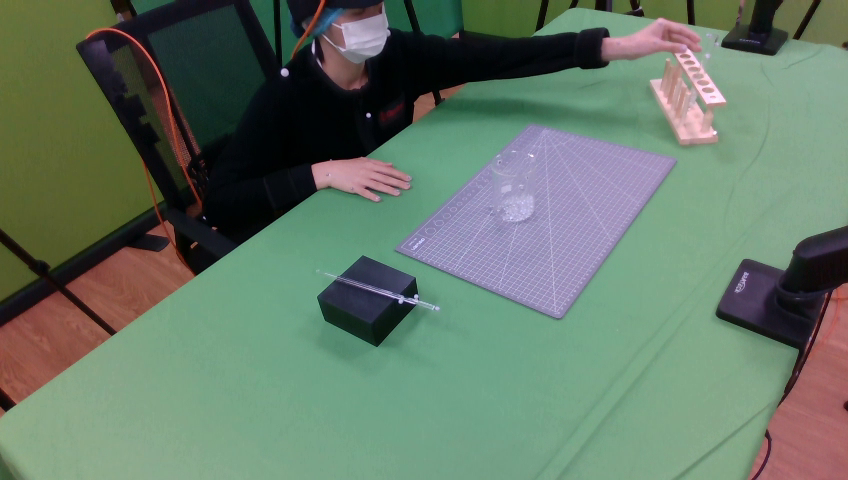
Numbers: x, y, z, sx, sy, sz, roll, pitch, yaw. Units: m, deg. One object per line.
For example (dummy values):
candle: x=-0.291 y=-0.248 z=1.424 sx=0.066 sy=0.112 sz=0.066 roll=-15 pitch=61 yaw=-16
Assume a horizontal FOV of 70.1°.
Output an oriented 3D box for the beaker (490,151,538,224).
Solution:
beaker: x=0.151 y=-0.084 z=0.988 sx=0.084 sy=0.101 sz=0.073 roll=-24 pitch=43 yaw=-20

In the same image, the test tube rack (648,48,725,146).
test tube rack: x=0.508 y=-0.285 z=1.186 sx=0.067 sy=0.085 sz=0.241 roll=-4 pitch=40 yaw=6

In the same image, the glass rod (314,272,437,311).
glass rod: x=-0.071 y=0.069 z=0.837 sx=0.198 sy=0.008 sz=0.008 roll=14 pitch=44 yaw=24

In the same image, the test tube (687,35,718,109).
test tube: x=0.521 y=-0.313 z=1.137 sx=0.017 sy=0.151 sz=0.017 roll=0 pitch=44 yaw=0
